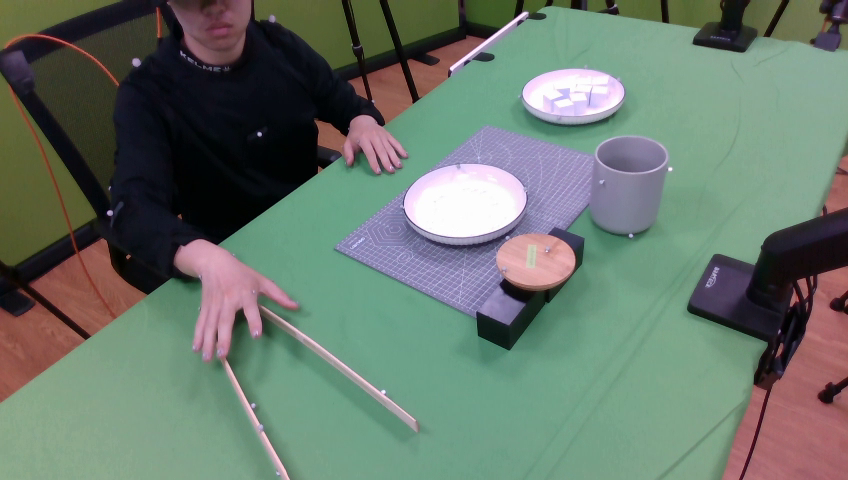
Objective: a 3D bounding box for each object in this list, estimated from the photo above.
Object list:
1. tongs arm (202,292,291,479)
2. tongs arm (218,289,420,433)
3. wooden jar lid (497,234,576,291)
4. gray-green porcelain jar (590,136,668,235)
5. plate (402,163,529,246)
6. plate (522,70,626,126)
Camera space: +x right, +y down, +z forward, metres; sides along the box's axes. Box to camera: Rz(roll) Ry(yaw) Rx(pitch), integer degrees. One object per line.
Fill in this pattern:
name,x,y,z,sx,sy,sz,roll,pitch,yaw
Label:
tongs arm,-0.216,0.187,0.772,0.051,0.026,0.381,-28,44,-24
tongs arm,-0.153,0.151,0.811,0.384,0.028,0.028,26,53,33
wooden jar lid,0.154,0.032,0.834,0.108,0.021,0.108,-5,40,5
gray-green porcelain jar,0.314,-0.080,0.937,0.106,0.127,0.105,-4,41,4
plate,0.069,-0.056,1.008,0.209,0.038,0.208,-4,40,4
plate,0.308,-0.290,1.251,0.207,0.039,0.206,-4,40,4
